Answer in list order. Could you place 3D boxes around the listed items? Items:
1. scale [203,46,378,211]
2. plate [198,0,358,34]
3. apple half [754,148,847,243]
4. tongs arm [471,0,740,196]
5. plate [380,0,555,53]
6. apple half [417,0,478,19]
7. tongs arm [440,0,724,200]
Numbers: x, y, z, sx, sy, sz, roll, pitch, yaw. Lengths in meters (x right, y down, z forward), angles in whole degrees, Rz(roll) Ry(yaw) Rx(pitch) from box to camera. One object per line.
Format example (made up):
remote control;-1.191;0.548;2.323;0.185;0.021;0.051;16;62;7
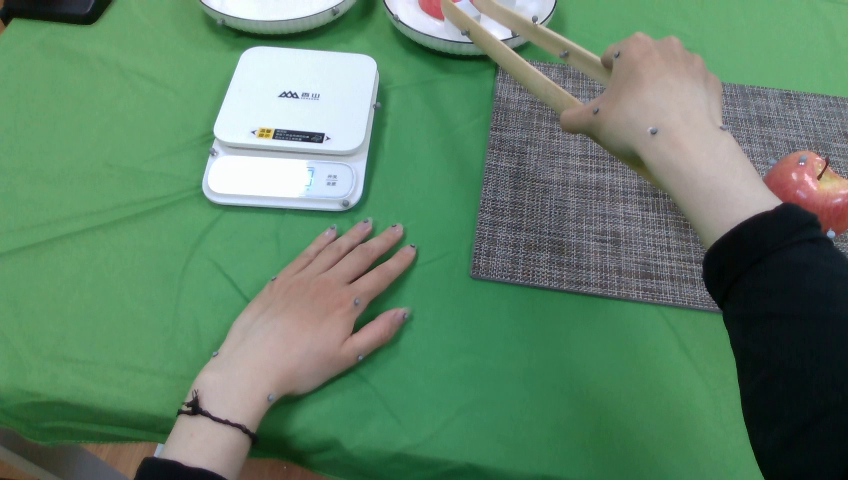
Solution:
scale;-0.128;-0.117;0.605;0.149;0.032;0.199;3;55;1
plate;-0.172;-0.314;0.739;0.208;0.039;0.205;1;55;-1
apple half;0.323;-0.033;0.529;0.053;0.075;0.080;-26;63;-13
tongs arm;0.133;-0.158;0.557;0.051;0.027;0.380;-29;48;-16
plate;0.051;-0.288;0.727;0.209;0.038;0.207;1;54;-1
apple half;0.032;-0.300;0.728;0.081;0.033;0.080;-1;52;1
tongs arm;0.111;-0.147;0.551;0.028;0.028;0.383;-23;47;-16
